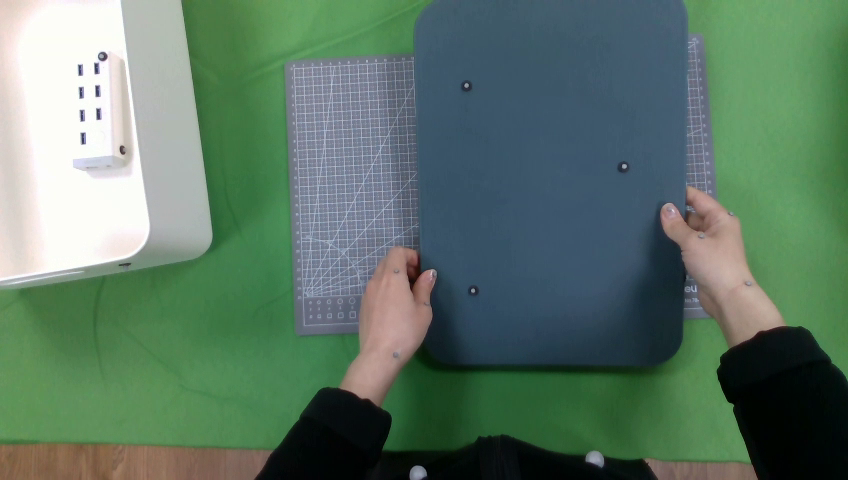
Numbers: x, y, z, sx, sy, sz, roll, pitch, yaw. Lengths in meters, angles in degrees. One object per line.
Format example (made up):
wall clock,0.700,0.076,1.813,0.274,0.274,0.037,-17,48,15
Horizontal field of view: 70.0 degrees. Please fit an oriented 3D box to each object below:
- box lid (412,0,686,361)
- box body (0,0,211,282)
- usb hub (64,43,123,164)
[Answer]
box lid,0.121,-0.059,0.602,0.263,0.015,0.372,-1,96,6
box body,-0.373,-0.145,0.594,0.254,0.160,0.363,-9,87,2
usb hub,-0.356,-0.147,0.654,0.049,0.025,0.125,-4,87,2
